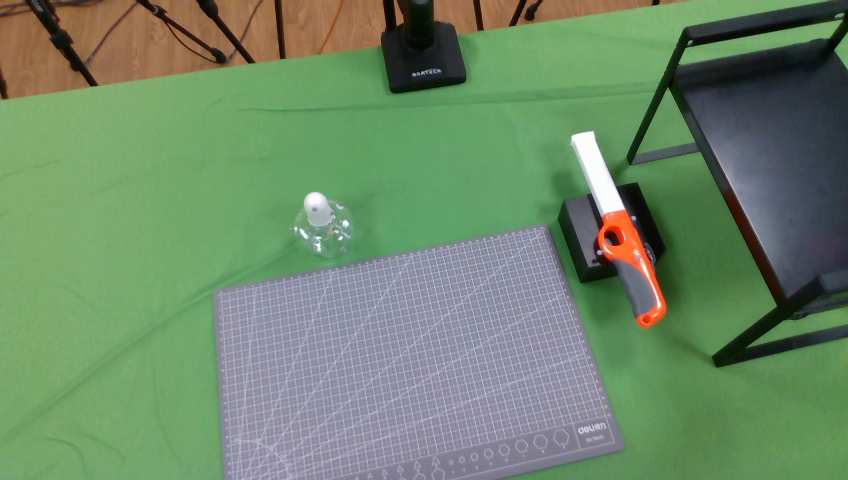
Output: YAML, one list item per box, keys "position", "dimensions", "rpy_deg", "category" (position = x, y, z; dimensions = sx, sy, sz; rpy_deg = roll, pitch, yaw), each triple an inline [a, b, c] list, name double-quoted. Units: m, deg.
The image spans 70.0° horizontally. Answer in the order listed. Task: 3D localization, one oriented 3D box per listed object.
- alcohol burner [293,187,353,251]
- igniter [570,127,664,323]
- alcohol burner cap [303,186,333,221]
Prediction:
- position: [-0.131, -0.033, 0.767]
  dimensions: [0.078, 0.120, 0.077]
  rpy_deg: [-1, 65, 3]
  category: "alcohol burner"
- position: [0.237, -0.027, 0.753]
  dimensions: [0.057, 0.025, 0.274]
  rpy_deg: [-11, 62, -2]
  category: "igniter"
- position: [-0.131, -0.047, 0.739]
  dimensions: [0.034, 0.048, 0.033]
  rpy_deg: [-1, 66, 3]
  category: "alcohol burner cap"
